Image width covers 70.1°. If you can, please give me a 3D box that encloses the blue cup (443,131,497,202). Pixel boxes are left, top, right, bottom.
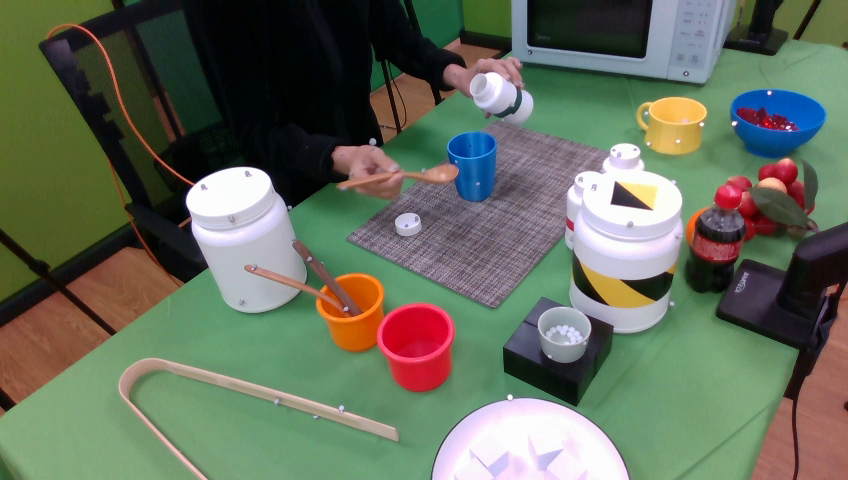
[{"bbox_3d":[0.085,-0.122,1.040,0.092,0.100,0.092,-4,42,4],"label":"blue cup"}]

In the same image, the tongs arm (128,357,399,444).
[{"bbox_3d":[-0.213,0.205,0.755,0.382,0.026,0.051,12,46,23],"label":"tongs arm"}]

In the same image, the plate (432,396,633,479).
[{"bbox_3d":[0.112,0.261,0.634,0.209,0.038,0.208,-5,40,4],"label":"plate"}]

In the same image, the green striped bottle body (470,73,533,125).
[{"bbox_3d":[0.131,-0.244,1.038,0.120,0.063,0.062,14,18,-47],"label":"green striped bottle body"}]

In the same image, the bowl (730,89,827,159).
[{"bbox_3d":[0.615,-0.197,1.069,0.151,0.077,0.150,-5,40,5],"label":"bowl"}]

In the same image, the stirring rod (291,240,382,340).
[{"bbox_3d":[-0.119,0.068,0.826,0.176,0.006,0.014,49,58,-4],"label":"stirring rod"}]

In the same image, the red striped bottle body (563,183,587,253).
[{"bbox_3d":[0.246,-0.041,0.910,0.063,0.120,0.062,-2,38,2],"label":"red striped bottle body"}]

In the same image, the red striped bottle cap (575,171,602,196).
[{"bbox_3d":[0.242,-0.081,0.876,0.044,0.018,0.044,-5,44,5],"label":"red striped bottle cap"}]

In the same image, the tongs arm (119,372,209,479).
[{"bbox_3d":[-0.258,0.257,0.700,0.384,0.028,0.028,24,55,34],"label":"tongs arm"}]

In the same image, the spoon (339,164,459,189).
[{"bbox_3d":[-0.031,-0.087,0.826,0.195,0.021,0.041,-9,34,-36],"label":"spoon"}]

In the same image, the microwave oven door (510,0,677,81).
[{"bbox_3d":[0.354,-0.478,1.290,0.353,0.245,0.039,15,45,25],"label":"microwave oven door"}]

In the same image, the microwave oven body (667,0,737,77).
[{"bbox_3d":[0.462,-0.552,1.369,0.439,0.261,0.326,15,45,26],"label":"microwave oven body"}]

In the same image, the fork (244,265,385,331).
[{"bbox_3d":[-0.142,0.078,0.806,0.209,0.018,0.028,30,32,-24],"label":"fork"}]

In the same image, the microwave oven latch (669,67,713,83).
[{"bbox_3d":[0.556,-0.348,1.261,0.078,0.029,0.030,16,46,27],"label":"microwave oven latch"}]

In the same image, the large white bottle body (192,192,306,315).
[{"bbox_3d":[-0.256,0.004,0.885,0.130,0.185,0.130,-4,40,4],"label":"large white bottle body"}]

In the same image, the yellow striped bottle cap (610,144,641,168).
[{"bbox_3d":[0.307,-0.128,0.923,0.044,0.019,0.044,-6,39,5],"label":"yellow striped bottle cap"}]

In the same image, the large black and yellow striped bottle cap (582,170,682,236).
[{"bbox_3d":[0.252,-0.048,0.735,0.115,0.019,0.114,-3,40,3],"label":"large black and yellow striped bottle cap"}]

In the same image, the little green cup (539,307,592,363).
[{"bbox_3d":[0.169,0.115,0.721,0.061,0.039,0.061,-4,42,4],"label":"little green cup"}]

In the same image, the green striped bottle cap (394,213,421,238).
[{"bbox_3d":[-0.028,-0.025,1.010,0.044,0.020,0.044,-3,43,3],"label":"green striped bottle cap"}]

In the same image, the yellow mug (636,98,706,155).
[{"bbox_3d":[0.453,-0.217,1.129,0.100,0.064,0.129,-34,46,-27],"label":"yellow mug"}]

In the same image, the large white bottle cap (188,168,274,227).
[{"bbox_3d":[-0.264,-0.061,0.831,0.115,0.018,0.114,-4,40,4],"label":"large white bottle cap"}]

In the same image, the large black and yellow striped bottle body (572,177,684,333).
[{"bbox_3d":[0.262,0.017,0.788,0.131,0.185,0.130,-5,40,4],"label":"large black and yellow striped bottle body"}]

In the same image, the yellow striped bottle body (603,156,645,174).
[{"bbox_3d":[0.313,-0.089,0.956,0.063,0.121,0.062,-5,40,4],"label":"yellow striped bottle body"}]
